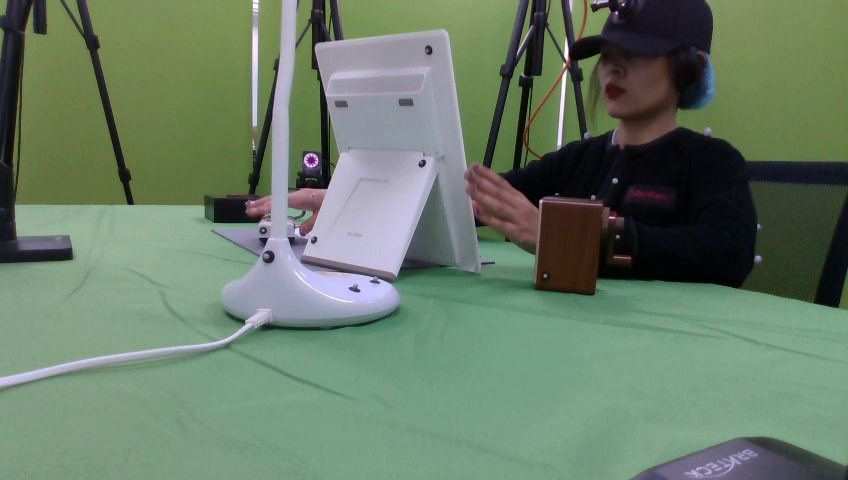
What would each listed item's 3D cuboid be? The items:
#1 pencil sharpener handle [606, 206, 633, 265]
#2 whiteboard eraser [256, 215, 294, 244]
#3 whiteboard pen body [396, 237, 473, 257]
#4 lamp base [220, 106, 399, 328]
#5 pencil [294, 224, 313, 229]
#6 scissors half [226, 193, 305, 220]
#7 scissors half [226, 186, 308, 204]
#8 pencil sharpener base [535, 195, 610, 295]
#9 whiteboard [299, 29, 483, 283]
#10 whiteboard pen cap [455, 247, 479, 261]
[{"bbox_3d":[0.222,-0.004,0.683,0.030,0.068,0.036,5,20,16],"label":"pencil sharpener handle"},{"bbox_3d":[-0.232,-0.016,0.951,0.056,0.042,0.112,1,7,-12],"label":"whiteboard eraser"},{"bbox_3d":[0.014,0.011,0.886,0.140,0.017,0.017,9,10,38],"label":"whiteboard pen body"},{"bbox_3d":[-0.101,-0.023,0.531,0.160,0.180,0.179,4,10,10],"label":"lamp base"},{"bbox_3d":[-0.221,-0.028,1.211,0.195,0.012,0.012,-5,10,-34],"label":"pencil"},{"bbox_3d":[-0.341,-0.077,1.309,0.176,0.040,0.012,17,10,-33],"label":"scissors half"},{"bbox_3d":[-0.336,-0.096,1.305,0.176,0.040,0.013,-3,15,-29],"label":"scissors half"},{"bbox_3d":[0.172,0.005,0.696,0.076,0.107,0.061,5,7,16],"label":"pencil sharpener base"},{"bbox_3d":[-0.074,-0.082,0.742,0.216,0.305,0.144,9,30,38],"label":"whiteboard"},{"bbox_3d":[0.060,0.020,0.851,0.033,0.018,0.018,9,10,36],"label":"whiteboard pen cap"}]
